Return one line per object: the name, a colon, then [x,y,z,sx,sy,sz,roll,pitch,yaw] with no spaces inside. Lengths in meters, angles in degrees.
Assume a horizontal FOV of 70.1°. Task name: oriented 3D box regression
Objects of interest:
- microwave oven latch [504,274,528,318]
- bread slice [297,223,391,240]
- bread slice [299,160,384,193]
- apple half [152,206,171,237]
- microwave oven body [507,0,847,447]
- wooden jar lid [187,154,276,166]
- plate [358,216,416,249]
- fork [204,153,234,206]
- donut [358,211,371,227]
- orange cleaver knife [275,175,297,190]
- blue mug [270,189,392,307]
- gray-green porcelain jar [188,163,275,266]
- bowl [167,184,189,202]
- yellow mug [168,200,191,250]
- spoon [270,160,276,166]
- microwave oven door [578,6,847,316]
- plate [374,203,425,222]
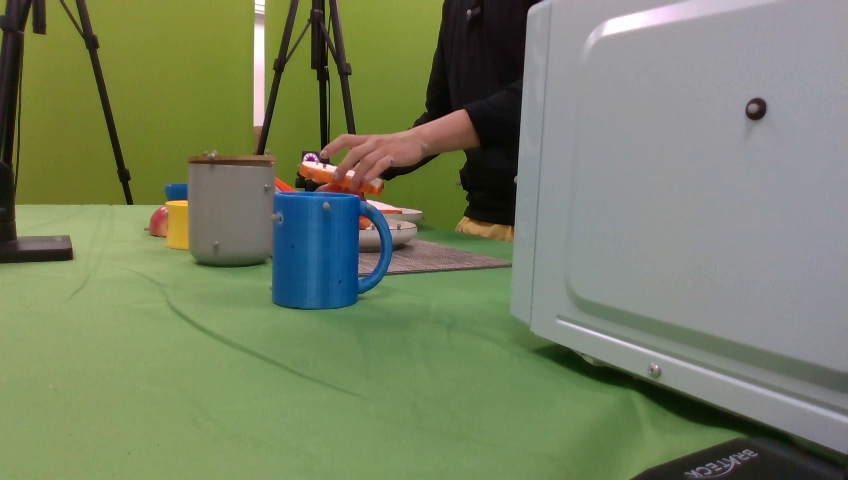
microwave oven latch: [0.100,0.041,0.471,0.079,0.029,0.030,-1,8,-28]
bread slice: [-0.121,-0.015,0.970,0.106,0.018,0.135,9,8,40]
bread slice: [-0.129,-0.102,0.948,0.132,0.019,0.105,14,11,-3]
apple half: [-0.415,-0.034,1.017,0.081,0.053,0.074,1,10,-8]
microwave oven body: [0.331,-0.042,0.425,0.444,0.260,0.324,-2,8,-31]
wooden jar lid: [-0.244,-0.097,0.771,0.108,0.020,0.108,-1,7,0]
plate: [-0.116,-0.014,0.967,0.208,0.039,0.207,2,7,0]
fork: [-0.480,-0.136,1.412,0.028,0.018,0.207,1,-34,-1]
donut: [-0.129,-0.041,0.956,0.099,0.048,0.099,2,8,0]
orange cleaver knife: [-0.283,-0.087,1.343,0.212,0.077,0.012,24,-16,-41]
blue mug: [-0.089,0.005,0.588,0.117,0.106,0.082,1,7,-10]
gray-green porcelain jar: [-0.246,-0.034,0.780,0.106,0.126,0.106,1,7,0]
bowl: [-0.408,-0.064,1.154,0.151,0.077,0.151,2,8,0]
yellow mug: [-0.320,-0.022,0.904,0.130,0.064,0.100,8,10,36]
spoon: [-0.396,-0.150,1.548,0.042,0.193,0.021,2,-37,-4]
microwave oven door: [0.294,-0.067,0.570,0.358,0.243,0.039,-3,9,-31]
plate: [-0.102,-0.053,1.299,0.209,0.038,0.209,2,8,0]
